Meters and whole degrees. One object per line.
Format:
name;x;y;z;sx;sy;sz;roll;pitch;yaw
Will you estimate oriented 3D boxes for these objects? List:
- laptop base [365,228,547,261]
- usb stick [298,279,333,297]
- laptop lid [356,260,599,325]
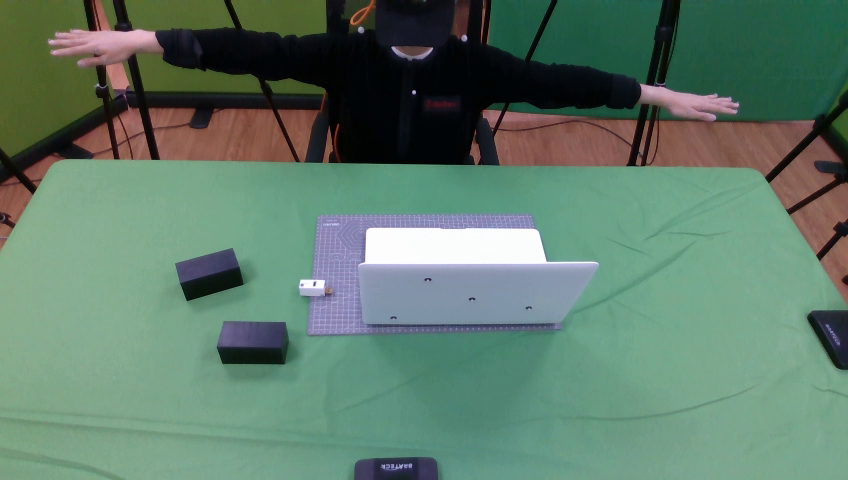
laptop base;0.064;0.063;1.142;0.355;0.023;0.234;0;42;-4
usb stick;-0.195;0.087;1.092;0.059;0.027;0.021;5;46;-3
laptop lid;0.074;0.089;0.958;0.357;0.242;0.013;1;60;-5
